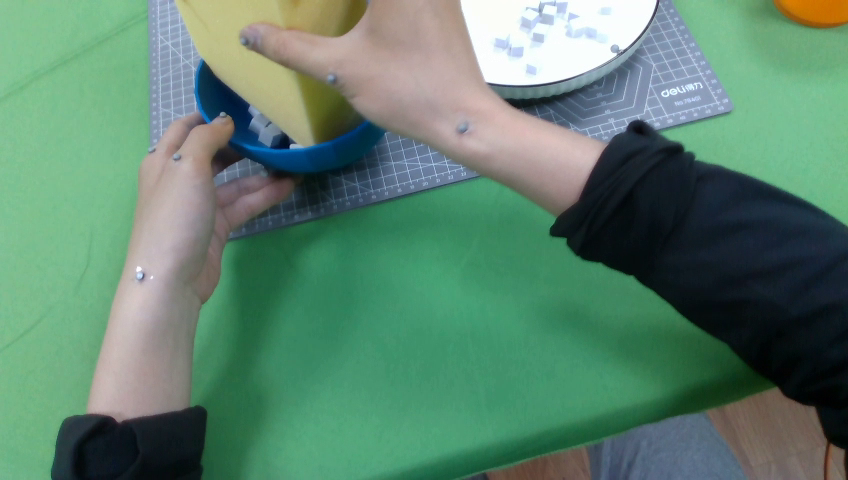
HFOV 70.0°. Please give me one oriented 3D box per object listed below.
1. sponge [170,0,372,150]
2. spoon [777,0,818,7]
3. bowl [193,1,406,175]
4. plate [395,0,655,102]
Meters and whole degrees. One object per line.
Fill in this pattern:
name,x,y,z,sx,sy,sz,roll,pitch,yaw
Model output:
sponge,-0.095,-0.149,0.346,0.117,0.208,0.061,38,70,14
spoon,0.350,-0.244,0.438,0.022,0.194,0.041,3,58,-43
bowl,-0.083,-0.102,0.453,0.151,0.077,0.150,-3,63,6
plate,0.080,-0.194,0.503,0.209,0.038,0.207,-3,64,5
